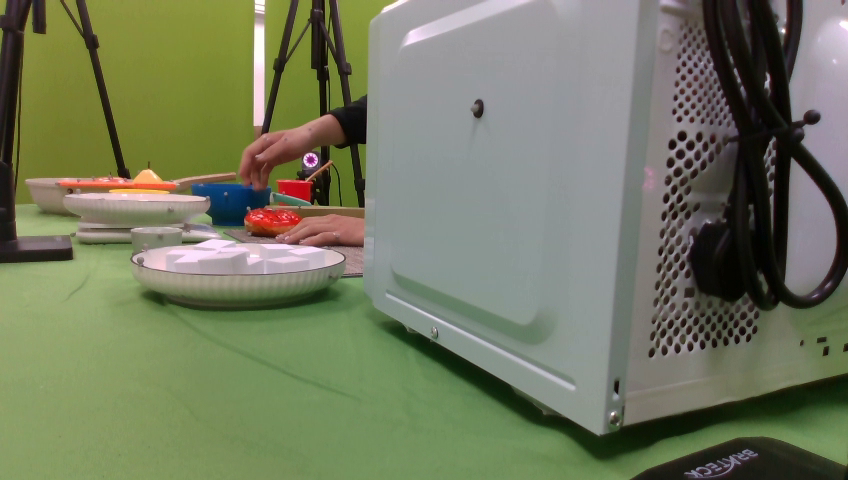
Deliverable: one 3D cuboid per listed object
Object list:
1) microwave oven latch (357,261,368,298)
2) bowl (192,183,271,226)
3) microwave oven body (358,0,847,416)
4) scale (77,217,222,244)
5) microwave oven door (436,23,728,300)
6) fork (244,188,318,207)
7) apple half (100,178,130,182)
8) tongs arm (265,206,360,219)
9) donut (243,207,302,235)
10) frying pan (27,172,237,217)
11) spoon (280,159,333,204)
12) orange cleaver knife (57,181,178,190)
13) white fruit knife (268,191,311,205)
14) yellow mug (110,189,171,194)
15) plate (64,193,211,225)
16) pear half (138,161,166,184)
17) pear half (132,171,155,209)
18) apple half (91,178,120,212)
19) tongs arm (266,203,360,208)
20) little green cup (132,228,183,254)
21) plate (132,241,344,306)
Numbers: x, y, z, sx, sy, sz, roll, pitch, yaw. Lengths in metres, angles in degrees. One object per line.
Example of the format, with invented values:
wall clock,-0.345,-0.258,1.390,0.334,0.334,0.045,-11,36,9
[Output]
microwave oven latch,-0.019,0.033,0.530,0.079,0.029,0.030,-1,7,-26
bowl,-0.382,-0.071,1.202,0.151,0.077,0.151,3,7,0
microwave oven body,0.211,-0.047,0.475,0.444,0.260,0.324,-1,7,-28
scale,-0.434,-0.018,0.963,0.202,0.031,0.148,-1,8,-27
microwave oven door,0.180,-0.073,0.621,0.358,0.243,0.039,-2,9,-29
fork,-0.356,-0.105,1.526,0.208,0.018,0.028,16,-6,-41
apple half,-0.638,-0.093,1.266,0.053,0.074,0.081,7,5,10
tongs arm,-0.173,-0.061,1.362,0.387,0.026,0.050,-1,4,-31
donut,-0.261,-0.032,1.043,0.099,0.048,0.099,4,9,0
frying pan,-0.624,-0.118,1.387,0.305,0.102,0.490,8,17,32
spoon,-0.317,-0.159,1.640,0.194,0.022,0.041,-49,32,-20
orange cleaver knife,-0.600,-0.109,1.189,0.212,0.012,0.077,-1,11,-26
white fruit knife,-0.364,-0.105,1.464,0.208,0.027,0.016,15,0,-34
yellow mug,-0.519,-0.055,1.081,0.099,0.064,0.131,7,9,26
plate,-0.446,-0.050,0.952,0.209,0.038,0.209,2,7,0
pear half,-0.602,-0.120,1.354,0.056,0.110,0.076,4,11,5
pear half,-0.636,-0.113,1.362,0.031,0.088,0.070,2,13,1
apple half,-0.677,-0.096,1.271,0.033,0.081,0.081,7,8,10
tongs arm,-0.209,-0.070,1.439,0.389,0.027,0.028,1,0,-16
little green cup,-0.342,0.006,0.779,0.061,0.038,0.061,2,8,0
plate,-0.187,0.033,0.625,0.208,0.039,0.207,2,7,0
